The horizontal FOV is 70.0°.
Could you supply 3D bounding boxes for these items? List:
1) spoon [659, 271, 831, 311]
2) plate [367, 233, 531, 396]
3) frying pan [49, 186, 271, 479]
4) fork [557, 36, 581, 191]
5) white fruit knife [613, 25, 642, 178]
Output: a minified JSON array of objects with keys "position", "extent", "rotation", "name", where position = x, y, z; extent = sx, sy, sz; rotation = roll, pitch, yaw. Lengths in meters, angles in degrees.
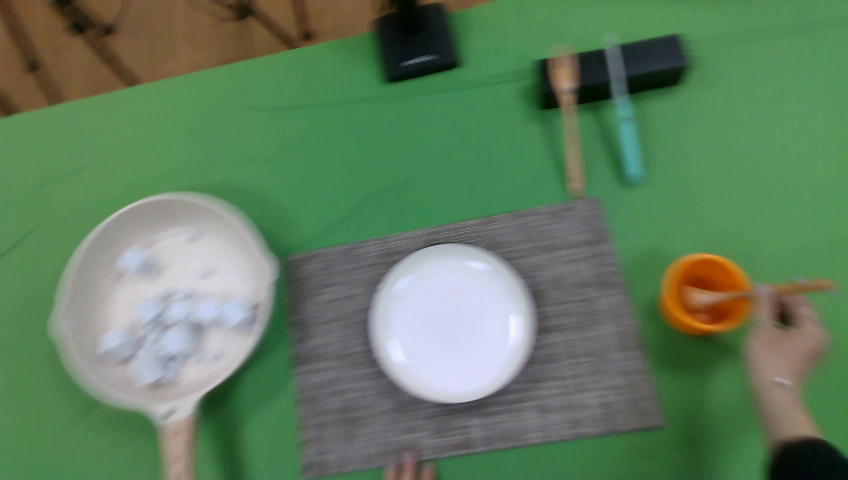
[{"position":[0.352,0.052,0.686],"extent":[0.193,0.022,0.041],"rotation":[-16,76,47],"name":"spoon"},{"position":[0.032,0.095,0.777],"extent":[0.207,0.039,0.206],"rotation":[-2,73,7],"name":"plate"},{"position":[-0.323,0.163,0.772],"extent":[0.307,0.103,0.483],"rotation":[-14,63,4],"name":"frying pan"},{"position":[0.200,-0.169,0.817],"extent":[0.028,0.018,0.207],"rotation":[-5,91,-1],"name":"fork"},{"position":[0.269,-0.187,0.812],"extent":[0.016,0.027,0.207],"rotation":[-8,87,4],"name":"white fruit knife"}]
